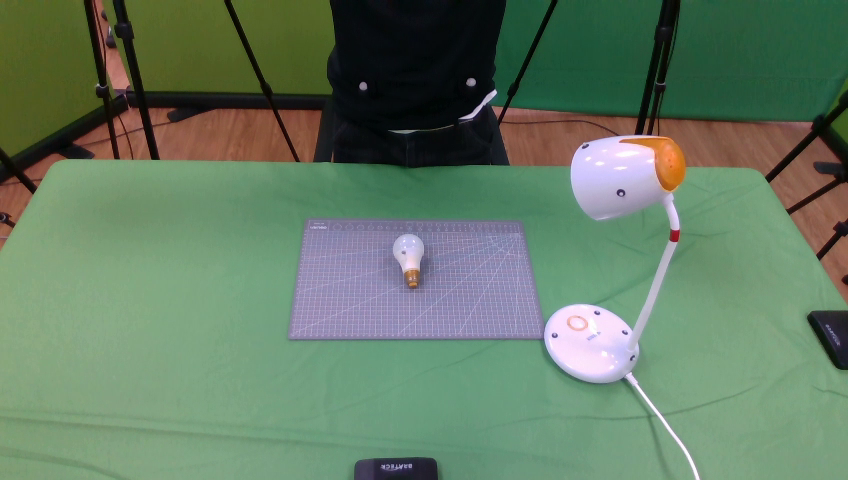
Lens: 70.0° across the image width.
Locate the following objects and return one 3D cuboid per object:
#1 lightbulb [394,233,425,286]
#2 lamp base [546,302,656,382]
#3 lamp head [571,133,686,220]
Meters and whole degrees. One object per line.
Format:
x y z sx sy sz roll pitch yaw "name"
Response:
-0.025 0.037 1.134 0.059 0.060 0.107 -4 63 -7 "lightbulb"
0.303 0.127 0.982 0.160 0.181 0.178 -34 59 -29 "lamp base"
0.271 -0.085 0.780 0.112 0.113 0.122 -40 22 -33 "lamp head"
